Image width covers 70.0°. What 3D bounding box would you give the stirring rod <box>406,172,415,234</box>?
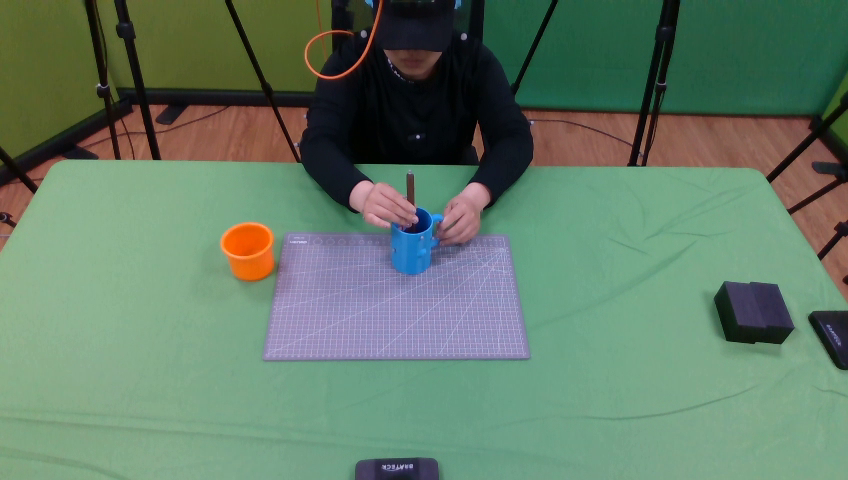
[{"bbox_3d":[-0.024,-0.044,1.079,0.014,0.177,0.006,11,39,15],"label":"stirring rod"}]

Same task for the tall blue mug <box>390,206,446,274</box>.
[{"bbox_3d":[-0.016,-0.008,1.142,0.077,0.108,0.107,23,49,19],"label":"tall blue mug"}]
